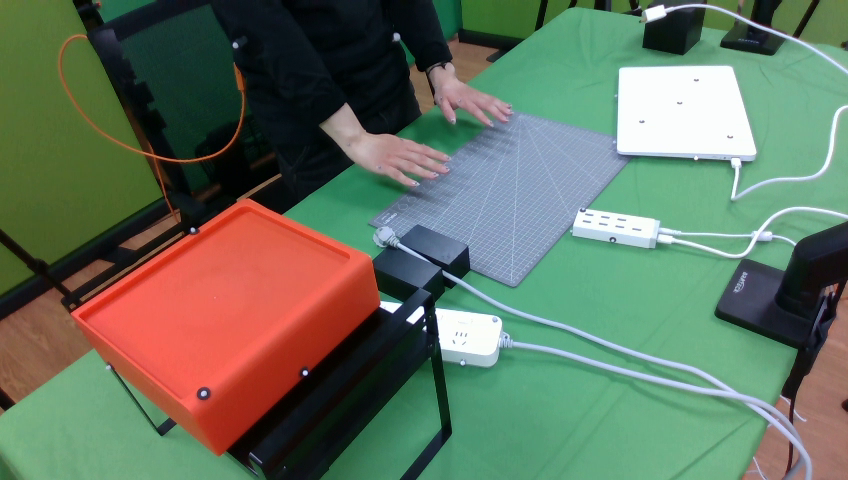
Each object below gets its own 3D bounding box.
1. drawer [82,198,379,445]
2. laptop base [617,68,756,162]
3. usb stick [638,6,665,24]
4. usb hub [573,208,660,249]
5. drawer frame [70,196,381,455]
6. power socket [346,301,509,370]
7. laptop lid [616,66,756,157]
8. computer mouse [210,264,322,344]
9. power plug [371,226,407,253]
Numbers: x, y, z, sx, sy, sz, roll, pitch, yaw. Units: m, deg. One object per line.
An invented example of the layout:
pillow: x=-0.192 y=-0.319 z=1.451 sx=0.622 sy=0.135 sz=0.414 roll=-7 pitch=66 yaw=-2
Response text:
drawer: x=-0.185 y=0.066 z=0.600 sx=0.193 sy=0.073 sz=0.212 roll=24 pitch=50 yaw=31
laptop base: x=0.507 y=-0.256 z=1.204 sx=0.235 sy=0.023 sz=0.353 roll=3 pitch=41 yaw=15
usb stick: x=0.503 y=-0.499 z=1.347 sx=0.059 sy=0.027 sz=0.021 roll=-21 pitch=5 yaw=-1
usb hub: x=0.302 y=-0.019 z=0.949 sx=0.124 sy=0.025 sz=0.049 roll=11 pitch=43 yaw=20
drawer frame: x=-0.186 y=0.068 z=0.597 sx=0.200 sy=0.083 sz=0.214 roll=23 pitch=49 yaw=30
power socket: x=-0.001 y=0.126 z=0.817 sx=0.226 sy=0.033 sz=0.072 roll=7 pitch=43 yaw=15
laptop lid: x=0.503 y=-0.265 z=1.196 sx=0.241 sy=0.013 sz=0.356 roll=5 pitch=41 yaw=16
computer mouse: x=-0.164 y=0.062 z=0.625 sx=0.116 sy=0.041 sz=0.063 roll=22 pitch=45 yaw=27
power plug: x=-0.054 y=0.009 z=0.930 sx=0.035 sy=0.053 sz=0.072 roll=-34 pitch=64 yaw=-5
